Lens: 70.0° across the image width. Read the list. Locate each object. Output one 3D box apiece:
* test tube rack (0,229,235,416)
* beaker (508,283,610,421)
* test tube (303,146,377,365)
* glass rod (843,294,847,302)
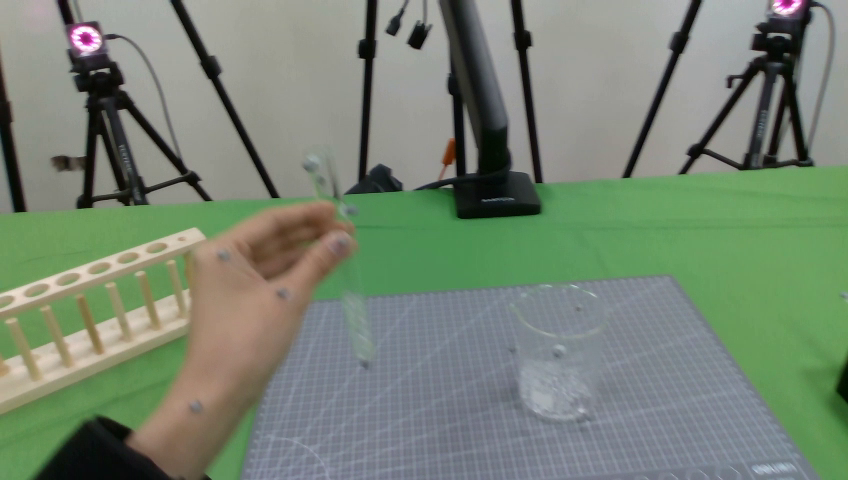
[{"bbox_3d":[-0.328,0.077,0.617,0.243,0.086,0.066,-23,37,-31],"label":"test tube rack"},{"bbox_3d":[0.113,0.099,0.523,0.083,0.101,0.073,7,32,19],"label":"beaker"},{"bbox_3d":[-0.049,0.015,0.369,0.017,0.151,0.017,-7,28,4],"label":"test tube"},{"bbox_3d":[0.419,0.100,0.488,0.008,0.008,0.197,-9,31,-9],"label":"glass rod"}]
